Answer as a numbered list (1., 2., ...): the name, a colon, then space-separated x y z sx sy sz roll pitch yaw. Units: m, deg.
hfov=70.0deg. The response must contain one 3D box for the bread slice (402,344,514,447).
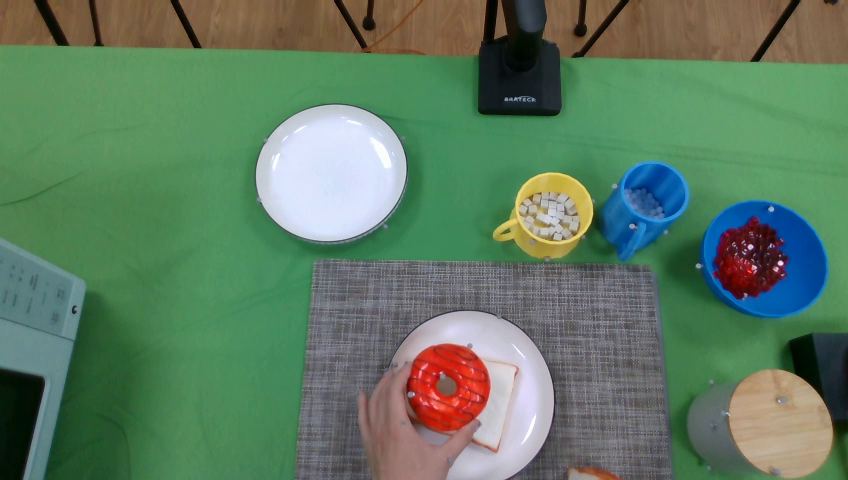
1. bread slice: 0.038 0.184 0.740 0.131 0.019 0.104 15 72 1

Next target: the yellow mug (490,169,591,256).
1. yellow mug: 0.148 -0.030 0.795 0.131 0.064 0.099 -19 72 -5

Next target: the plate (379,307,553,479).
1. plate: 0.051 0.186 0.737 0.209 0.038 0.208 0 72 0

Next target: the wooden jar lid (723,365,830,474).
1. wooden jar lid: 0.360 0.185 0.626 0.108 0.021 0.107 1 73 -1

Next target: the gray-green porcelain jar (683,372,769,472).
1. gray-green porcelain jar: 0.362 0.205 0.685 0.106 0.127 0.105 0 72 0

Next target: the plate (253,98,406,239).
1. plate: -0.128 -0.096 0.834 0.208 0.039 0.206 0 72 0

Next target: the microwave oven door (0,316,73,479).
1. microwave oven door: -0.466 0.250 0.595 0.039 0.245 0.353 2 71 2

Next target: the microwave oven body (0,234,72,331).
1. microwave oven body: -0.610 0.206 0.616 0.326 0.261 0.439 2 72 1

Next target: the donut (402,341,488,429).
1. donut: 0.024 0.164 0.689 0.099 0.048 0.098 0 73 1

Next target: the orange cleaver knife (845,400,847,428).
1. orange cleaver knife: 0.517 0.213 0.704 0.012 0.077 0.212 -1 101 1

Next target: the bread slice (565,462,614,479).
1. bread slice: 0.178 0.297 0.652 0.018 0.135 0.106 10 70 -4

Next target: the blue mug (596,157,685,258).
1. blue mug: 0.269 -0.032 0.775 0.082 0.106 0.116 21 73 8

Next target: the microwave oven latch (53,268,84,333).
1. microwave oven latch: -0.452 0.075 0.759 0.030 0.029 0.078 5 72 2

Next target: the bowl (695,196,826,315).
1. bowl: 0.410 0.028 0.768 0.151 0.077 0.150 0 72 1
